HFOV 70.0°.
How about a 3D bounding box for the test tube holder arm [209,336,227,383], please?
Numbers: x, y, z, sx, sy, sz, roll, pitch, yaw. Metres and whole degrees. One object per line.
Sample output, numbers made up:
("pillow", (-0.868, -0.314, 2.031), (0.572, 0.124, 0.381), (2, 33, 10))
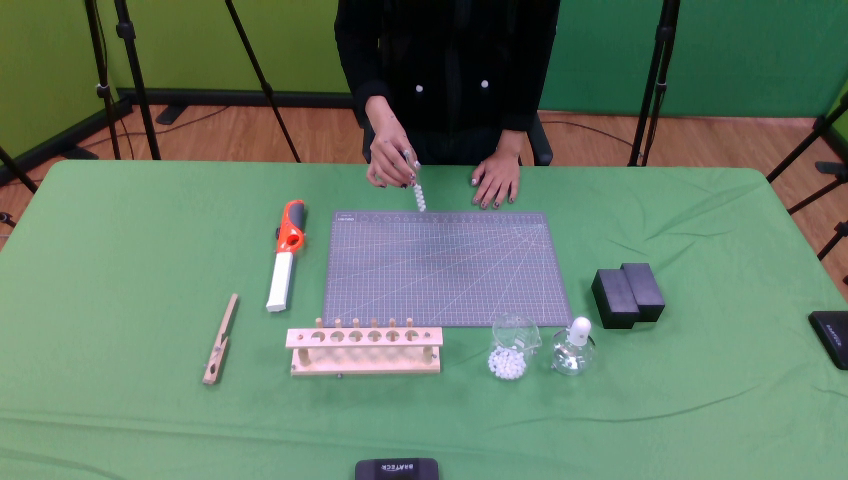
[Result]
("test tube holder arm", (-0.338, 0.193, 0.991), (0.010, 0.015, 0.087), (28, 39, -26))

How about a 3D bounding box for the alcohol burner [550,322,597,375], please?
("alcohol burner", (0.248, 0.168, 0.991), (0.078, 0.119, 0.077), (2, 48, -2))

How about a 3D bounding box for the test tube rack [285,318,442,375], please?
("test tube rack", (-0.095, 0.168, 0.986), (0.242, 0.085, 0.066), (0, 46, -4))

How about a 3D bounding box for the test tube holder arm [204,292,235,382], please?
("test tube holder arm", (-0.343, 0.159, 1.020), (0.013, 0.015, 0.177), (27, 39, -27))

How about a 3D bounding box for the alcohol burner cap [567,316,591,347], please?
("alcohol burner cap", (0.249, 0.143, 0.965), (0.034, 0.048, 0.033), (4, 40, -3))

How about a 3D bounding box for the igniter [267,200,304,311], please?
("igniter", (-0.263, 0.020, 1.156), (0.057, 0.025, 0.274), (-6, 46, 4))

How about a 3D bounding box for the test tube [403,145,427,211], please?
("test tube", (-0.015, -0.109, 1.089), (0.017, 0.151, 0.017), (-7, 46, 8))

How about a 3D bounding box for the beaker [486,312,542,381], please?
("beaker", (0.144, 0.177, 0.985), (0.084, 0.101, 0.074), (22, 49, 16))
